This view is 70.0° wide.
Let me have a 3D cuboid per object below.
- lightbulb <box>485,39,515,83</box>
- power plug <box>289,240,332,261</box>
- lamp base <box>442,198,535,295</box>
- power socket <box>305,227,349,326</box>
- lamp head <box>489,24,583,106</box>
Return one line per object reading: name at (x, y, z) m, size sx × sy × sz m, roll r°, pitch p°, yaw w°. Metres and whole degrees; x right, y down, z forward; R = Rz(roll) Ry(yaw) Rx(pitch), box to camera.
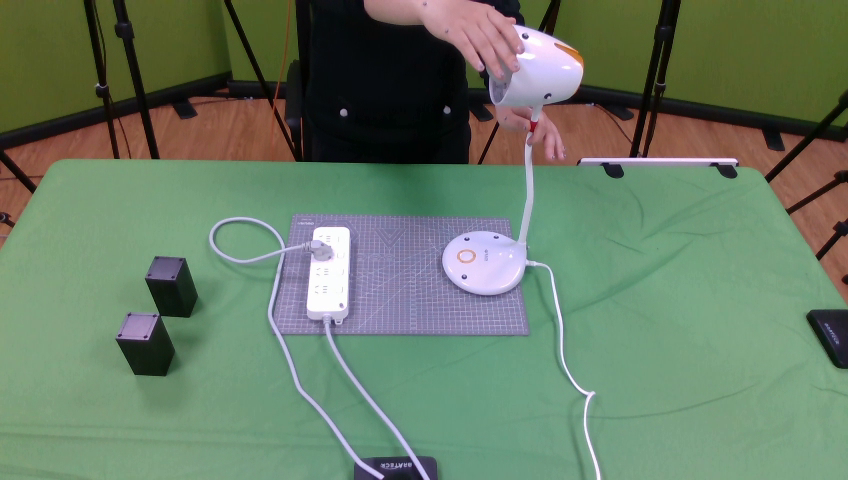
lightbulb at (0.140, -0.251, 0.866) m, size 0.108 × 0.060 × 0.059 m, roll 10°, pitch 45°, yaw -8°
power plug at (-0.207, 0.022, 1.123) m, size 0.072 × 0.053 × 0.035 m, roll 6°, pitch 44°, yaw 5°
lamp base at (0.130, -0.012, 1.105) m, size 0.179 × 0.181 × 0.159 m, roll -1°, pitch 46°, yaw -9°
power socket at (-0.177, 0.059, 1.115) m, size 0.072 × 0.033 × 0.225 m, roll -1°, pitch 46°, yaw -4°
lamp head at (0.163, -0.241, 0.872) m, size 0.123 × 0.113 × 0.111 m, roll 8°, pitch 44°, yaw -17°
